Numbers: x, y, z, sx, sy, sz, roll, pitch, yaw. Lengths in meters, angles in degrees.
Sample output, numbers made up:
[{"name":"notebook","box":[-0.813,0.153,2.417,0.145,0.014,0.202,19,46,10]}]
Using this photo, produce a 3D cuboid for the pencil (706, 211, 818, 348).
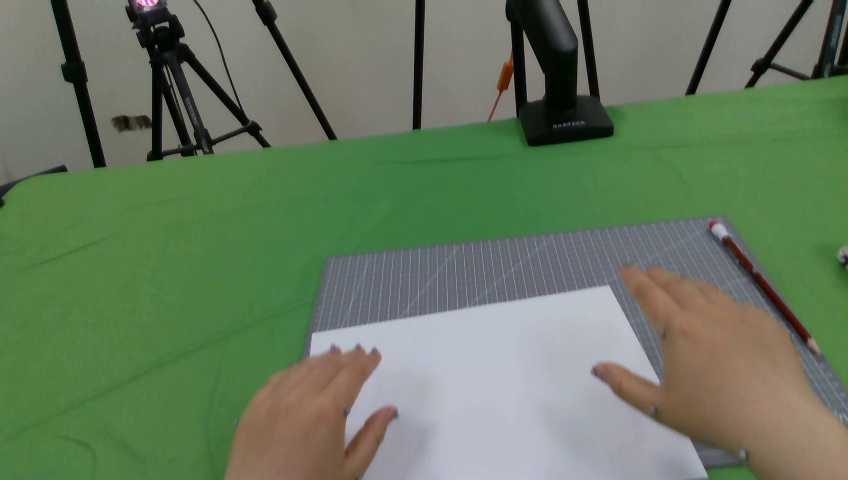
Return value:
[{"name":"pencil","box":[0.315,0.030,0.572,0.012,0.012,0.192,-9,38,0]}]

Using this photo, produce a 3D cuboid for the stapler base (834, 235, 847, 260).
[{"name":"stapler base","box":[0.425,0.029,0.542,0.041,0.025,0.129,-11,38,2]}]
